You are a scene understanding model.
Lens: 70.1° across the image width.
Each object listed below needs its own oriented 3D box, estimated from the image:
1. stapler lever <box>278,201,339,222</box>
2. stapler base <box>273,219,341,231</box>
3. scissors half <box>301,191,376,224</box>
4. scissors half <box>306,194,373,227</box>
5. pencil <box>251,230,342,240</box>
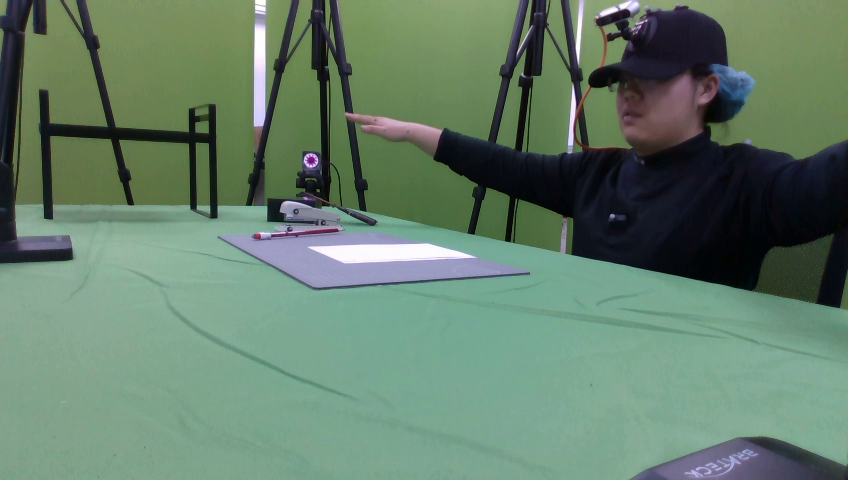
[{"bbox_3d":[-0.223,-0.055,1.170,0.119,0.040,0.026,-1,11,-34],"label":"stapler lever"},{"bbox_3d":[-0.225,-0.031,1.172,0.131,0.024,0.041,0,10,-34],"label":"stapler base"},{"bbox_3d":[-0.189,-0.073,1.333,0.175,0.013,0.040,22,11,-9],"label":"scissors half"},{"bbox_3d":[-0.191,-0.069,1.314,0.175,0.013,0.040,26,16,8],"label":"scissors half"},{"bbox_3d":[-0.215,-0.011,1.049,0.012,0.012,0.195,9,9,39],"label":"pencil"}]
